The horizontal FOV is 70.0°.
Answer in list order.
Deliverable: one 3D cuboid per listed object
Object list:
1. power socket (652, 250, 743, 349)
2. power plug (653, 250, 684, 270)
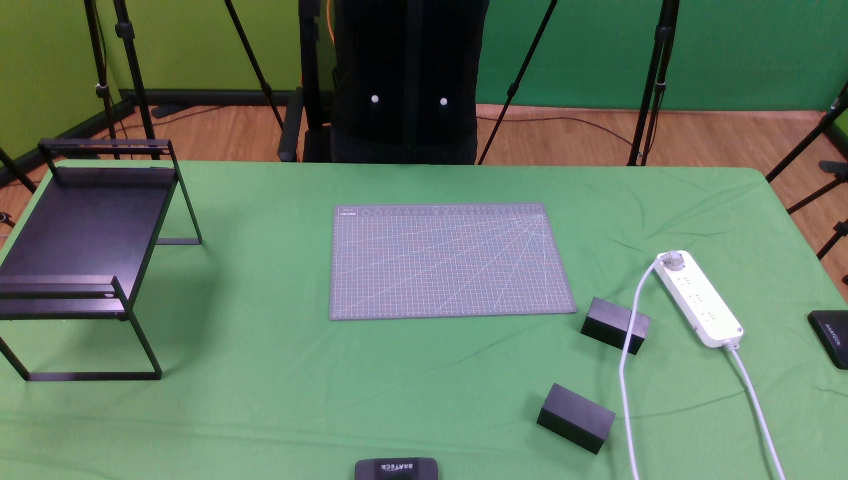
[{"bbox_3d":[0.503,0.104,1.127,0.072,0.033,0.225,-8,48,-11],"label":"power socket"},{"bbox_3d":[0.459,0.041,1.155,0.072,0.053,0.035,-1,46,-5],"label":"power plug"}]
